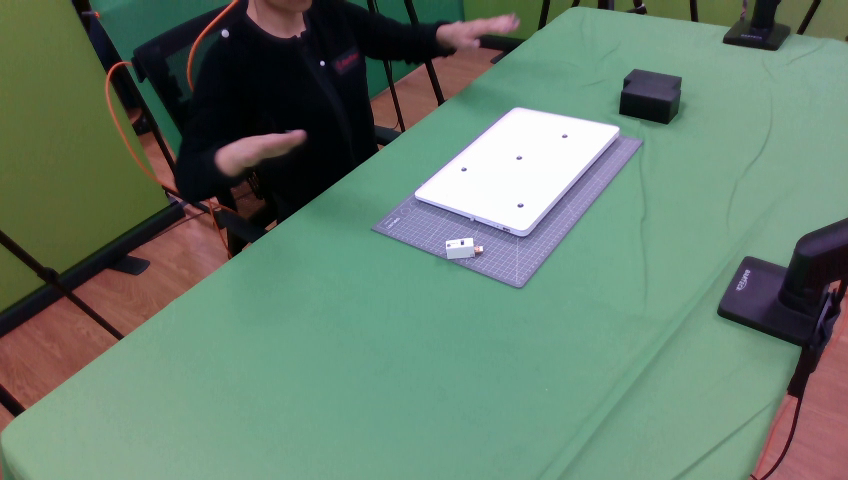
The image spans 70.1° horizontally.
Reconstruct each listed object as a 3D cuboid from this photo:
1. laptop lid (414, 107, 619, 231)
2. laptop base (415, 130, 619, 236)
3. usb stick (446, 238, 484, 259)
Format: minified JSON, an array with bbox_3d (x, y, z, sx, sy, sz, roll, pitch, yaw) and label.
[{"bbox_3d":[0.174,-0.147,1.106,0.239,0.013,0.358,22,49,34],"label":"laptop lid"},{"bbox_3d":[0.178,-0.137,1.112,0.233,0.023,0.355,19,48,34],"label":"laptop base"},{"bbox_3d":[0.064,0.013,0.946,0.059,0.027,0.021,-4,41,3],"label":"usb stick"}]
